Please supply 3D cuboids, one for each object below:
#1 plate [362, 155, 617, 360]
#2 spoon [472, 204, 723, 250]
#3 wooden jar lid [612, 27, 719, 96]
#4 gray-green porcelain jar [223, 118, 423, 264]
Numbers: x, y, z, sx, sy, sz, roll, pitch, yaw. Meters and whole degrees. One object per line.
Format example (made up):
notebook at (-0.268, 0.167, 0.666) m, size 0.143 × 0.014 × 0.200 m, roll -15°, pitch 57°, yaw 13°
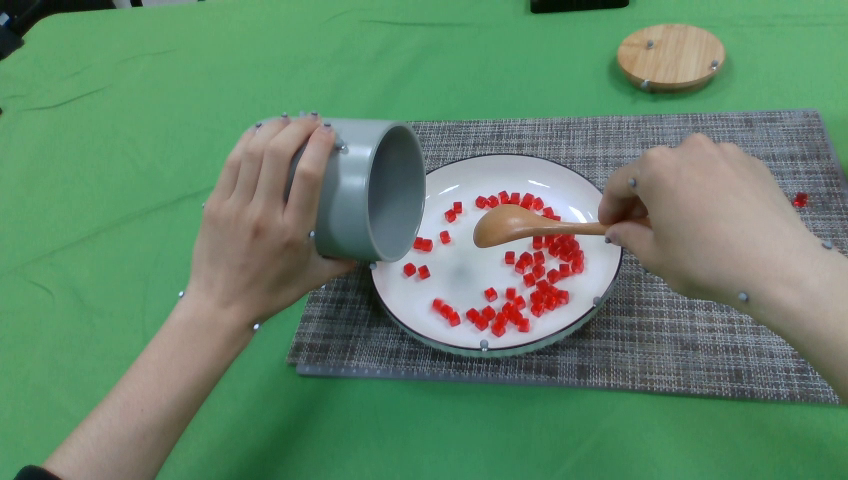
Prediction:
plate at (0.053, 0.013, 0.509) m, size 0.207 × 0.039 × 0.205 m, roll -6°, pitch 50°, yaw 7°
spoon at (0.108, -0.010, 0.425) m, size 0.192 × 0.022 × 0.041 m, roll 1°, pitch 55°, yaw 41°
wooden jar lid at (0.258, -0.191, 0.652) m, size 0.108 × 0.021 × 0.107 m, roll -6°, pitch 51°, yaw 7°
gray-green porcelain jar at (-0.079, -0.040, 0.467) m, size 0.126 × 0.107 × 0.105 m, roll 7°, pitch 53°, yaw 21°
